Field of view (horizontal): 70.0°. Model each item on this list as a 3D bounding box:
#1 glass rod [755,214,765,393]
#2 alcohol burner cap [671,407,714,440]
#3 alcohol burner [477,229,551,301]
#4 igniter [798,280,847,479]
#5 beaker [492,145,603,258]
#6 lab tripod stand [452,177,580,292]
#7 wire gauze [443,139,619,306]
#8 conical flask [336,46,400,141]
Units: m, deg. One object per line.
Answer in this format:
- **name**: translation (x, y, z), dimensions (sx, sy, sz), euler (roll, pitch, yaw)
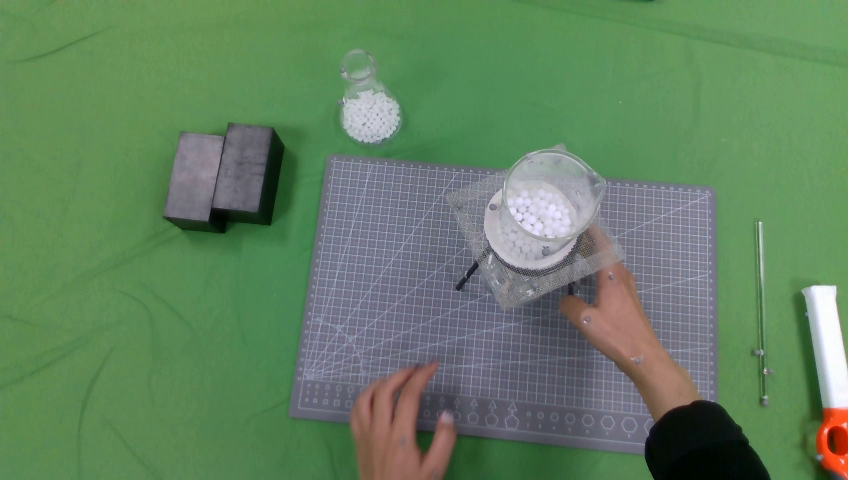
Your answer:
- **glass rod**: translation (0.368, 0.066, 0.664), dimensions (0.008, 0.008, 0.199), euler (6, 77, 2)
- **alcohol burner cap**: translation (0.276, 0.188, 0.617), dimensions (0.034, 0.048, 0.033), euler (0, 76, 1)
- **alcohol burner**: translation (0.094, 0.022, 0.621), dimensions (0.078, 0.119, 0.077), euler (0, 76, -1)
- **igniter**: translation (0.426, 0.178, 0.628), dimensions (0.057, 0.025, 0.275), euler (1, 77, -10)
- **beaker**: translation (0.097, -0.027, 0.506), dimensions (0.084, 0.100, 0.073), euler (-15, 78, -3)
- **lab tripod stand**: translation (0.096, 0.003, 0.615), dimensions (0.148, 0.132, 0.147), euler (0, 78, 1)
- **wire gauze**: translation (0.098, -0.017, 0.553), dimensions (0.125, 0.011, 0.121), euler (-23, 81, -6)
- **conical flask**: translation (-0.067, -0.164, 0.665), dimensions (0.075, 0.122, 0.075), euler (0, 76, 1)
